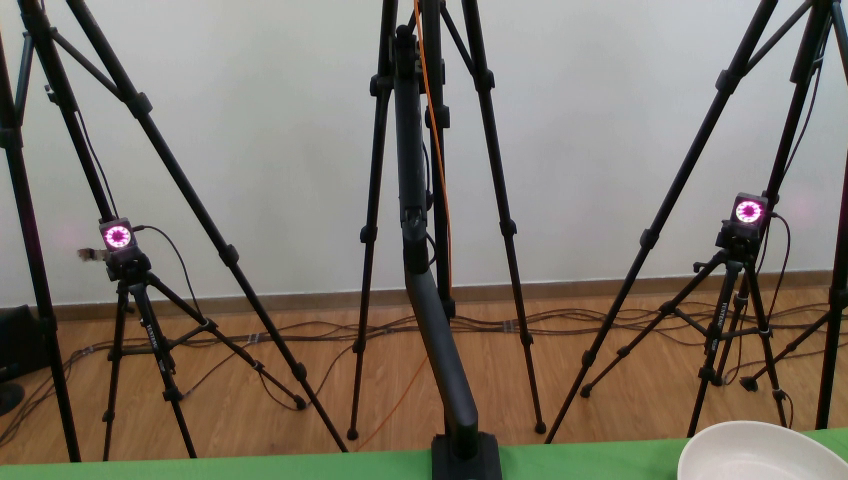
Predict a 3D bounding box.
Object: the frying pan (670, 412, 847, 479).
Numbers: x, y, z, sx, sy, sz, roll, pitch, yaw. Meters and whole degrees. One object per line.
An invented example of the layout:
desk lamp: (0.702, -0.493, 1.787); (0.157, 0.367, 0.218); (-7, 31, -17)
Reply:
frying pan: (0.528, 0.449, 0.854); (0.306, 0.103, 0.484); (0, 26, 6)

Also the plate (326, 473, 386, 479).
plate: (-0.116, 0.462, 0.939); (0.207, 0.039, 0.205); (-2, 34, 2)
